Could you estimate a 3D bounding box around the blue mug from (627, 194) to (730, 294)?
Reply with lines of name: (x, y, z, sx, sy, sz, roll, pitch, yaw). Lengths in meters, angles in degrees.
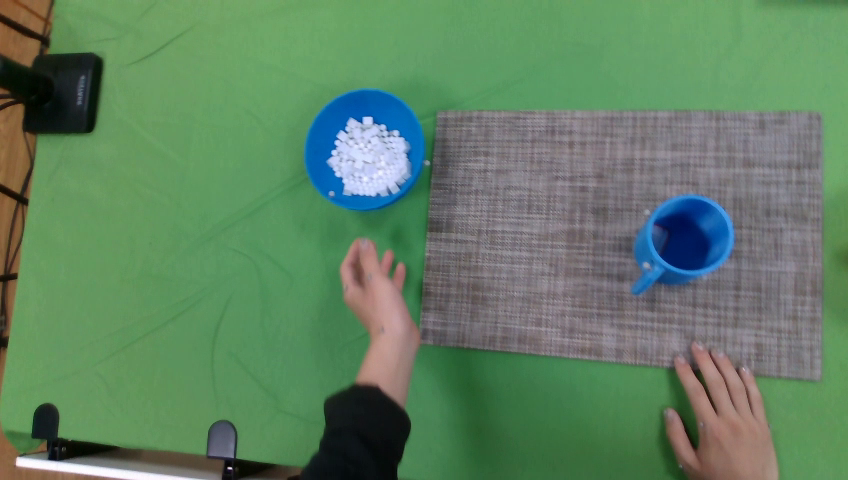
blue mug: (0.262, 0.014, 0.656, 0.082, 0.106, 0.116, 42, 92, 15)

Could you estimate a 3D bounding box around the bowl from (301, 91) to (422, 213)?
bowl: (-0.069, -0.101, 0.758, 0.151, 0.077, 0.151, -2, 82, 11)
